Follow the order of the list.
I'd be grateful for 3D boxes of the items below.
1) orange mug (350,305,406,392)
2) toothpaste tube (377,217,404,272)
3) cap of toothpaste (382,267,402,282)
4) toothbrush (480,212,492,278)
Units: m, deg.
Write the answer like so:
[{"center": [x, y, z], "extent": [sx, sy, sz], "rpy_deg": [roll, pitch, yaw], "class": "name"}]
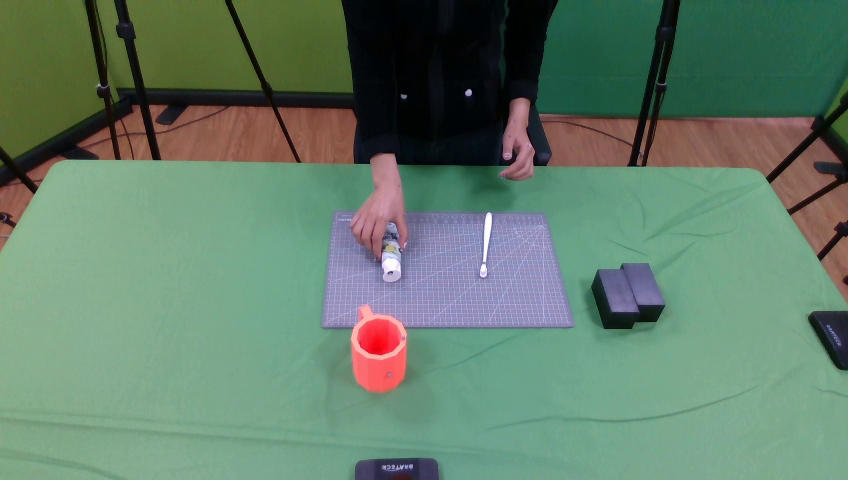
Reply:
[{"center": [-0.080, 0.168, 0.978], "extent": [0.083, 0.101, 0.125], "rpy_deg": [-16, 54, -18], "class": "orange mug"}, {"center": [-0.063, 0.008, 1.179], "extent": [0.055, 0.034, 0.164], "rpy_deg": [5, 42, -10], "class": "toothpaste tube"}, {"center": [-0.060, 0.063, 1.119], "extent": [0.037, 0.037, 0.011], "rpy_deg": [-9, 50, -12], "class": "cap of toothpaste"}, {"center": [0.124, 0.004, 1.203], "extent": [0.014, 0.017, 0.181], "rpy_deg": [-2, 43, 14], "class": "toothbrush"}]
